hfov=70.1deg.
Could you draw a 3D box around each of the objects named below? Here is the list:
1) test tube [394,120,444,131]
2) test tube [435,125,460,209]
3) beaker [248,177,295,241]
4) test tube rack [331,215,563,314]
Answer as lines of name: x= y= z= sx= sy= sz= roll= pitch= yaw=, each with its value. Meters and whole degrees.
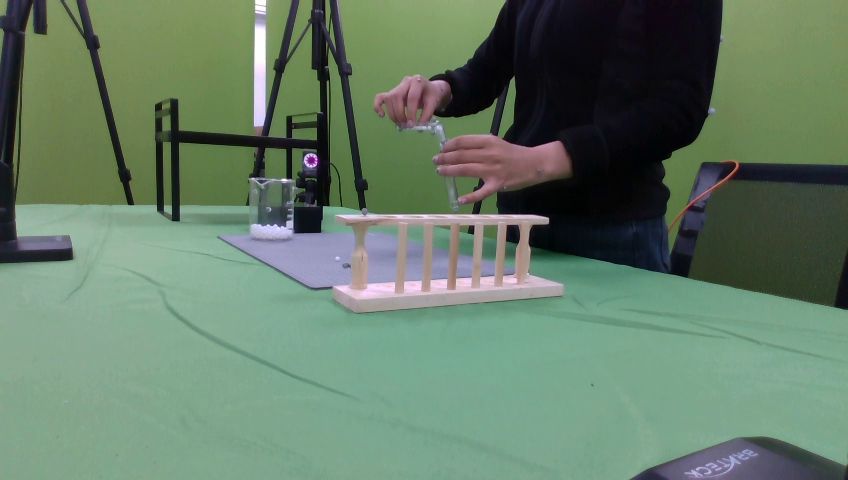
test tube: x=-0.011 y=-0.186 z=0.978 sx=0.017 sy=0.017 sz=0.150 roll=-2 pitch=11 yaw=-29
test tube: x=0.033 y=-0.108 z=0.878 sx=0.017 sy=0.150 sz=0.017 roll=-7 pitch=-31 yaw=-4
beaker: x=-0.252 y=-0.051 z=0.992 sx=0.074 sy=0.100 sz=0.084 roll=3 pitch=9 yaw=6
test tube rack: x=0.031 y=0.019 z=0.625 sx=0.243 sy=0.085 sz=0.066 roll=-1 pitch=8 yaw=-28
